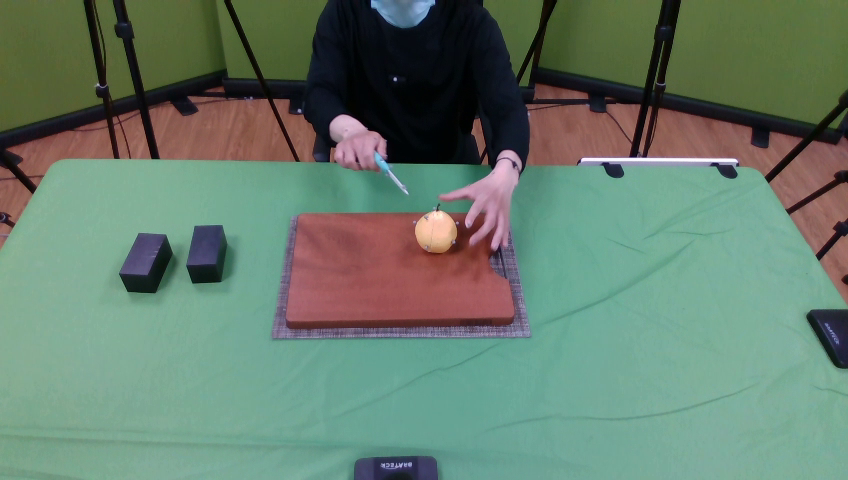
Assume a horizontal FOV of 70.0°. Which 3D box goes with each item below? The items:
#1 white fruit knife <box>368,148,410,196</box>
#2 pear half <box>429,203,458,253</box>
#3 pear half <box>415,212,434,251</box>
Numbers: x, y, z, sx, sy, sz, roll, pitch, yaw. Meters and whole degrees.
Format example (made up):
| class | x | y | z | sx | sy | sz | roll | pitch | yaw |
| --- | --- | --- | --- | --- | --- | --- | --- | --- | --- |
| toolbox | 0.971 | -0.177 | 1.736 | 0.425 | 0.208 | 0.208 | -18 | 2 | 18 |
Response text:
| class | x | y | z | sx | sy | sz | roll | pitch | yaw |
| --- | --- | --- | --- | --- | --- | --- | --- | --- | --- |
| white fruit knife | -0.066 | -0.129 | 1.132 | 0.016 | 0.027 | 0.206 | -30 | 39 | -8 |
| pear half | 0.036 | -0.027 | 1.123 | 0.056 | 0.110 | 0.076 | -4 | 50 | -6 |
| pear half | 0.000 | -0.019 | 1.127 | 0.031 | 0.088 | 0.070 | -4 | 53 | -7 |
